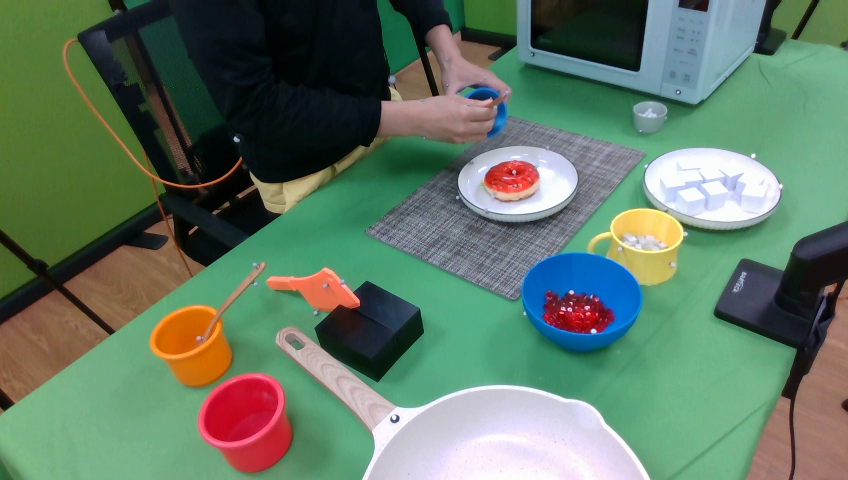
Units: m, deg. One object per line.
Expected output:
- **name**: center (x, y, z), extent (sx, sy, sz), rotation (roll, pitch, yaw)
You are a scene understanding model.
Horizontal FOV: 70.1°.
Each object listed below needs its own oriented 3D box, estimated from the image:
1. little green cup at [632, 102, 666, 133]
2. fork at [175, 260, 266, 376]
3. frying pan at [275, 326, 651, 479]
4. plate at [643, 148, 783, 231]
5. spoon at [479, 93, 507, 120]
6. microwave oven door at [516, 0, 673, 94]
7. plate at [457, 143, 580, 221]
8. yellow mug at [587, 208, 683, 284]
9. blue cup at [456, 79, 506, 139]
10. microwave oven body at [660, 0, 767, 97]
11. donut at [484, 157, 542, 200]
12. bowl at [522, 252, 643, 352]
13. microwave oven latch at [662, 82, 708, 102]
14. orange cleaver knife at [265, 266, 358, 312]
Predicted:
- **little green cup**: center (0.434, -0.237, 1.171), extent (0.061, 0.039, 0.061), rotation (-5, 40, 5)
- **fork**: center (-0.268, 0.103, 0.792), extent (0.207, 0.019, 0.028), rotation (-51, 41, 16)
- **frying pan**: center (0.003, 0.229, 0.641), extent (0.484, 0.103, 0.308), rotation (34, 54, 28)
- **plate**: center (0.464, -0.080, 0.985), extent (0.207, 0.039, 0.206), rotation (-4, 41, 4)
- **spoon**: center (0.102, -0.209, 0.984), extent (0.042, 0.193, 0.021), rotation (-30, 89, -8)
- **microwave oven door**: center (0.344, -0.458, 1.256), extent (0.353, 0.245, 0.039), rotation (26, 52, 33)
- **plate**: center (0.162, -0.097, 1.042), extent (0.209, 0.038, 0.208), rotation (-4, 40, 4)
- **yellow mug**: center (0.305, 0.009, 0.884), extent (0.131, 0.064, 0.099), rotation (-4, 40, 5)
- **blue cup**: center (0.094, -0.220, 1.066), extent (0.093, 0.100, 0.092), rotation (0, 83, -3)
- **microwave oven body**: center (0.473, -0.516, 1.313), extent (0.438, 0.261, 0.327), rotation (26, 51, 34)
- **donut**: center (0.153, -0.108, 1.039), extent (0.099, 0.048, 0.098), rotation (-6, 37, 5)
- **bowl**: center (0.204, 0.093, 0.791), extent (0.151, 0.077, 0.150), rotation (-4, 40, 4)
- **microwave oven latch**: center (0.518, -0.299, 1.203), extent (0.078, 0.029, 0.030), rotation (29, 53, 36)
- **orange cleaver knife**: center (-0.164, 0.073, 0.864), extent (0.210, 0.077, 0.012), rotation (-6, 30, 50)
